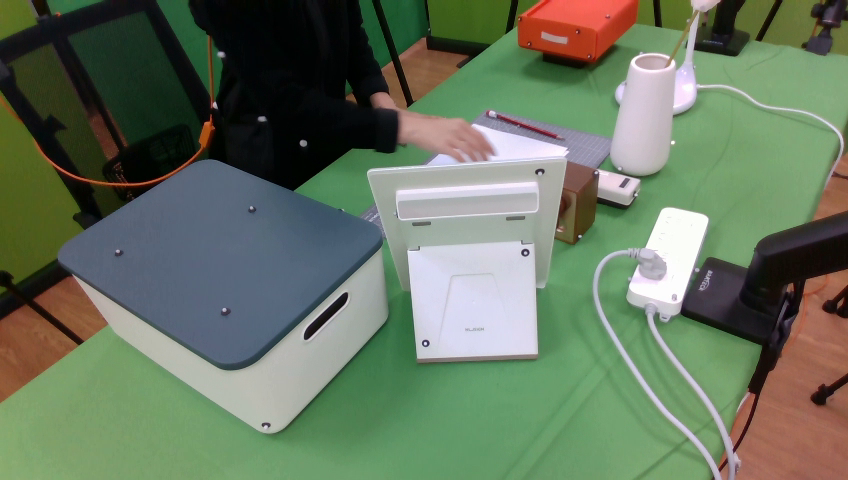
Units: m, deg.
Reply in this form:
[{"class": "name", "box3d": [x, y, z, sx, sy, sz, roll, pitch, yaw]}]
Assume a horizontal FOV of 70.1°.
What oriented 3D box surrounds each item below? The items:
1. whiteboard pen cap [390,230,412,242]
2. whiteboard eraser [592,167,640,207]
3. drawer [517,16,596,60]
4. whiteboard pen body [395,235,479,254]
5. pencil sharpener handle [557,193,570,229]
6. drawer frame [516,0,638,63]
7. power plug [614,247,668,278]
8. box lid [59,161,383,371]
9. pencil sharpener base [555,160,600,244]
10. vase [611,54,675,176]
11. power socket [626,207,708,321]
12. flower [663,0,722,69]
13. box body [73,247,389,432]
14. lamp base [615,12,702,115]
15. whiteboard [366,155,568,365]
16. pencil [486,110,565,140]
[{"class": "whiteboard pen cap", "box3d": [-0.036, -0.006, 0.980, 0.033, 0.018, 0.018, 9, 43, 18]}, {"class": "whiteboard eraser", "box3d": [0.303, -0.091, 1.024, 0.112, 0.042, 0.056, 21, 49, 28]}, {"class": "drawer", "box3d": [0.353, -0.506, 1.405, 0.193, 0.073, 0.212, 23, 49, 32]}, {"class": "whiteboard pen body", "box3d": [0.019, 0.005, 0.963, 0.140, 0.017, 0.017, 9, 43, 17]}, {"class": "pencil sharpener handle", "box3d": [0.195, -0.038, 0.908, 0.035, 0.068, 0.031, 24, 50, 30]}, {"class": "drawer frame", "box3d": [0.355, -0.508, 1.410, 0.200, 0.083, 0.214, 23, 51, 32]}, {"class": "power plug", "box3d": [0.306, 0.031, 0.851, 0.072, 0.053, 0.035, 24, 49, 33]}, {"class": "box lid", "box3d": [-0.262, 0.010, 0.777, 0.369, 0.015, 0.264, 21, 48, 29]}, {"class": "pencil sharpener base", "box3d": [0.228, -0.057, 0.945, 0.061, 0.107, 0.077, 24, 50, 31]}, {"class": "vase", "box3d": [0.377, -0.209, 1.031, 0.098, 0.201, 0.097, -3, 40, 3]}, {"class": "power socket", "box3d": [0.359, 0.025, 0.886, 0.072, 0.033, 0.227, 16, 46, 26]}, {"class": "flower", "box3d": [0.379, -0.261, 0.965, 0.044, 0.362, 0.038, 20, 53, 5]}, {"class": "box body", "box3d": [-0.255, 0.065, 0.827, 0.361, 0.161, 0.255, 21, 48, 29]}, {"class": "lamp base", "box3d": [0.484, -0.363, 1.211, 0.180, 0.181, 0.159, -15, 41, -14]}, {"class": "whiteboard", "box3d": [0.059, 0.050, 0.738, 0.217, 0.307, 0.143, -3, 60, 5]}, {"class": "pencil", "box3d": [0.204, -0.233, 1.226, 0.192, 0.012, 0.012, 29, 52, 33]}]
